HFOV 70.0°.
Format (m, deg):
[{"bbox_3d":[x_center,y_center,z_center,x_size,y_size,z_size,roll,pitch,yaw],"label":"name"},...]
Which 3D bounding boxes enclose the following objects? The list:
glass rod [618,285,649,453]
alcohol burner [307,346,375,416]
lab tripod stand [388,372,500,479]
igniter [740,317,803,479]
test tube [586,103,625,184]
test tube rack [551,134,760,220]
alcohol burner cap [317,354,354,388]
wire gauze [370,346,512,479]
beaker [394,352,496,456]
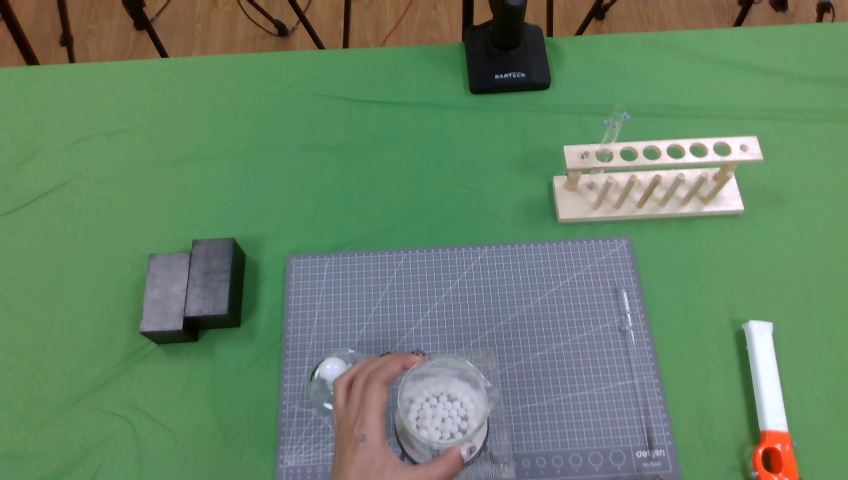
[{"bbox_3d":[0.249,0.149,0.720,0.008,0.008,0.198,-2,68,0],"label":"glass rod"},{"bbox_3d":[-0.093,0.150,0.666,0.078,0.120,0.077,0,63,1],"label":"alcohol burner"},{"bbox_3d":[0.015,0.195,0.633,0.148,0.132,0.147,-1,64,3],"label":"lab tripod stand"},{"bbox_3d":[0.389,0.221,0.679,0.057,0.025,0.274,8,66,-7],"label":"igniter"},{"bbox_3d":[0.221,-0.114,0.747,0.017,0.151,0.017,-1,62,2],"label":"test tube"},{"bbox_3d":[0.296,-0.080,0.784,0.242,0.086,0.066,-3,65,0],"label":"test tube rack"},{"bbox_3d":[-0.094,0.136,0.632,0.034,0.048,0.033,-2,70,6],"label":"alcohol burner cap"},{"bbox_3d":[0.013,0.164,0.574,0.125,0.011,0.120,-6,63,-1],"label":"wire gauze"},{"bbox_3d":[0.017,0.146,0.529,0.084,0.101,0.073,-8,64,-4],"label":"beaker"}]
